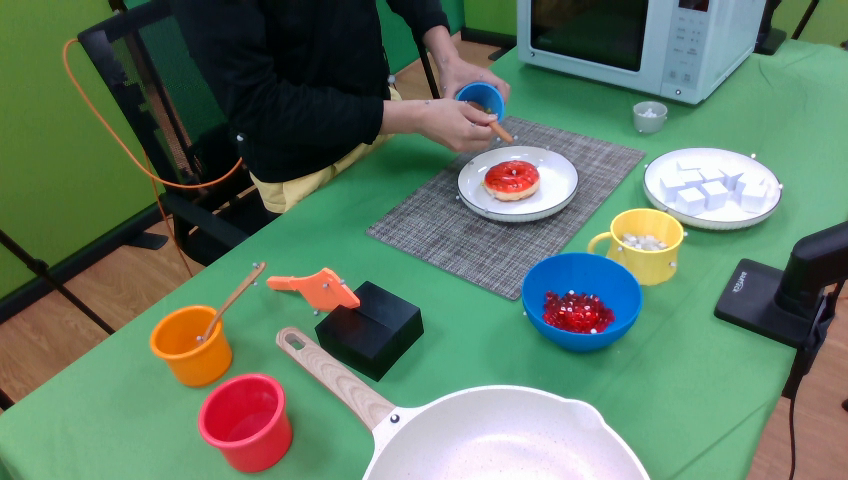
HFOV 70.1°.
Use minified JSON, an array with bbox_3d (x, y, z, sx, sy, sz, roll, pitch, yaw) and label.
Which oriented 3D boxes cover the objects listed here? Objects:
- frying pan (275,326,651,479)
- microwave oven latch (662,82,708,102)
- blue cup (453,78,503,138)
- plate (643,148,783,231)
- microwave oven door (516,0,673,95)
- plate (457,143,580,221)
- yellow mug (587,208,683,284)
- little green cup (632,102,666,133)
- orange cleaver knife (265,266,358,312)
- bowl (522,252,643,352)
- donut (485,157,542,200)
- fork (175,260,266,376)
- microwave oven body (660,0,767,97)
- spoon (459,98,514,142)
[{"bbox_3d":[0.003,0.229,0.641,0.484,0.103,0.308,34,54,28],"label":"frying pan"},{"bbox_3d":[0.518,-0.299,1.203,0.078,0.029,0.030,29,53,36],"label":"microwave oven latch"},{"bbox_3d":[0.094,-0.223,1.060,0.092,0.100,0.092,0,81,3],"label":"blue cup"},{"bbox_3d":[0.464,-0.080,0.986,0.207,0.039,0.206,-4,41,4],"label":"plate"},{"bbox_3d":[0.344,-0.458,1.256,0.353,0.245,0.039,26,51,33],"label":"microwave oven door"},{"bbox_3d":[0.162,-0.097,1.042,0.209,0.038,0.208,-4,40,4],"label":"plate"},{"bbox_3d":[0.305,0.009,0.884,0.131,0.064,0.099,-4,41,5],"label":"yellow mug"},{"bbox_3d":[0.434,-0.237,1.171,0.061,0.039,0.061,-5,40,5],"label":"little green cup"},{"bbox_3d":[-0.164,0.073,0.864,0.210,0.077,0.012,-6,30,50],"label":"orange cleaver knife"},{"bbox_3d":[0.204,0.093,0.792,0.151,0.077,0.150,-4,40,4],"label":"bowl"},{"bbox_3d":[0.153,-0.107,1.039,0.099,0.048,0.098,-6,37,5],"label":"donut"},{"bbox_3d":[-0.268,0.102,0.792,0.207,0.019,0.028,-51,41,16],"label":"fork"},{"bbox_3d":[0.473,-0.517,1.313,0.438,0.261,0.327,26,51,34],"label":"microwave oven body"},{"bbox_3d":[0.102,-0.197,0.987,0.042,0.022,0.192,-16,30,-9],"label":"spoon"}]
